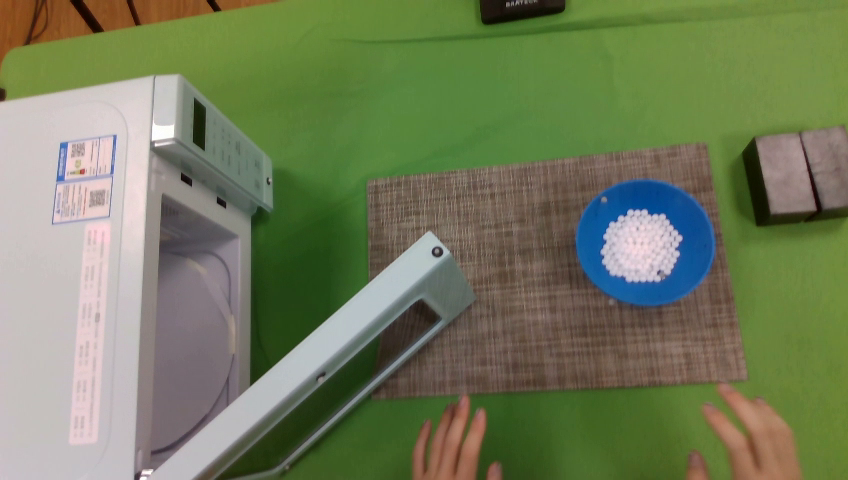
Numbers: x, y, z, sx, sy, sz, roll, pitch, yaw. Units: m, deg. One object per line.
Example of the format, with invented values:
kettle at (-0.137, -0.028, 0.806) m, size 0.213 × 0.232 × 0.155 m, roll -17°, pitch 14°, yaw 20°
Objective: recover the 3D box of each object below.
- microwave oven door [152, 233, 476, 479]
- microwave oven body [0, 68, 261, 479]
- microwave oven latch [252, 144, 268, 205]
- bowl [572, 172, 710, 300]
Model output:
microwave oven door at (-0.099, 0.145, 0.649) m, size 0.356 × 0.245 × 0.039 m, roll -42°, pitch 72°, yaw -2°
microwave oven body at (-0.383, 0.073, 0.722) m, size 0.326 × 0.262 × 0.439 m, roll -7°, pitch 76°, yaw 8°
microwave oven latch at (-0.233, -0.091, 0.838) m, size 0.030 × 0.030 × 0.078 m, roll -7°, pitch 76°, yaw 8°
bowl at (0.251, 0.003, 0.722) m, size 0.151 × 0.077 × 0.150 m, roll -2°, pitch 76°, yaw 10°
